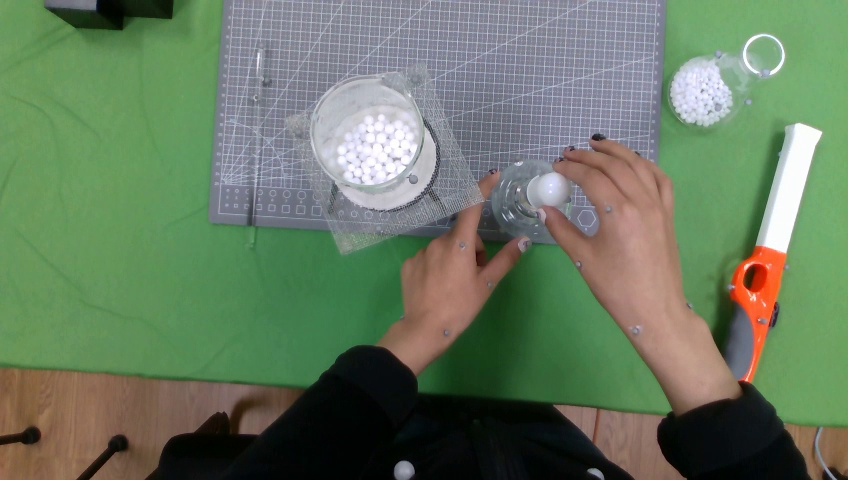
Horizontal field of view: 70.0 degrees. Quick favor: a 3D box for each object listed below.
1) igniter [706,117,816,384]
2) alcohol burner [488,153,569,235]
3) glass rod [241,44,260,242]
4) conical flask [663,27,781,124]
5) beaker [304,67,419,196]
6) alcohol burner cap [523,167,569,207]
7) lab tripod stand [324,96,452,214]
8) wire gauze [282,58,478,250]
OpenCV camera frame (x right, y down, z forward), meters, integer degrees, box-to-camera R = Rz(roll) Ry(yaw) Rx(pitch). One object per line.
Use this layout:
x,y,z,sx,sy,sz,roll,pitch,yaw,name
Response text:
0.337,0.014,0.605,0.057,0.025,0.276,17,89,-10,igniter
0.099,-0.045,0.560,0.078,0.119,0.078,0,87,2,alcohol burner
-0.174,-0.098,0.612,0.008,0.008,0.199,4,92,0,glass rod
0.278,-0.156,0.560,0.075,0.122,0.075,0,88,1,conical flask
-0.038,-0.073,0.437,0.074,0.100,0.084,25,89,0,beaker
0.101,-0.045,0.493,0.034,0.048,0.034,0,90,-4,alcohol burner cap
-0.036,-0.067,0.550,0.148,0.131,0.148,0,91,1,lab tripod stand
-0.035,-0.068,0.484,0.125,0.011,0.121,-22,92,-2,wire gauze
